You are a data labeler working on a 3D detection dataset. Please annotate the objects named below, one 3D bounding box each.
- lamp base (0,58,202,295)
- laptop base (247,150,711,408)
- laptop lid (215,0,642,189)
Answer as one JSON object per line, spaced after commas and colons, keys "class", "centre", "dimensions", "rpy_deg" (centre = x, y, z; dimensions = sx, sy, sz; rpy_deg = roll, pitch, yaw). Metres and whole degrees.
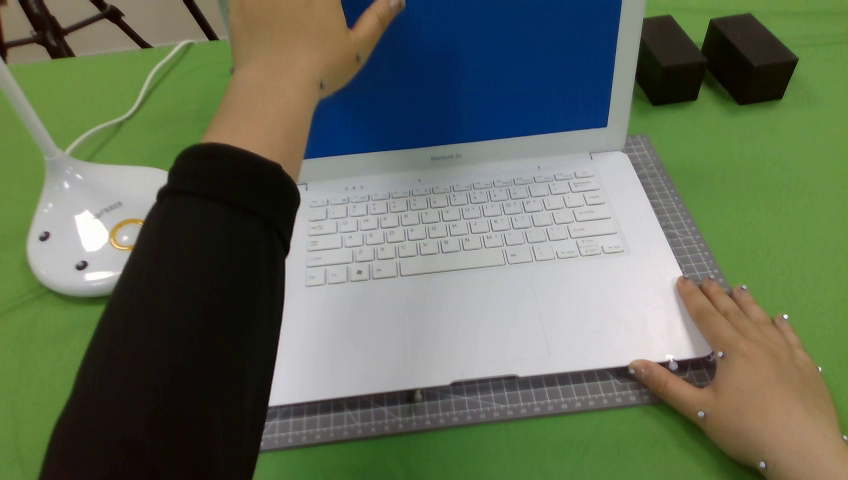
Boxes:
{"class": "lamp base", "centre": [-0.310, -0.068, 0.528], "dimensions": [0.178, 0.182, 0.160], "rpy_deg": [23, 54, 27]}
{"class": "laptop base", "centre": [0.033, 0.022, 0.528], "dimensions": [0.354, 0.023, 0.233], "rpy_deg": [-6, 51, -1]}
{"class": "laptop lid", "centre": [0.013, -0.158, 0.532], "dimensions": [0.357, 0.244, 0.013], "rpy_deg": [-8, 39, 0]}
